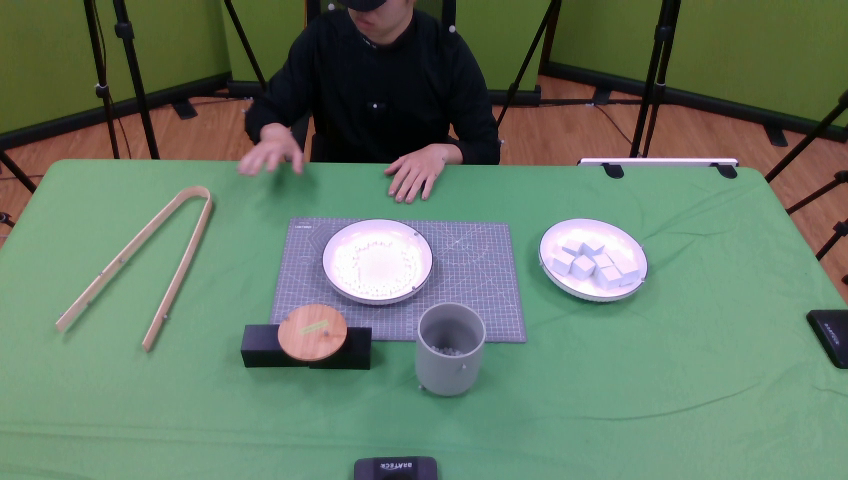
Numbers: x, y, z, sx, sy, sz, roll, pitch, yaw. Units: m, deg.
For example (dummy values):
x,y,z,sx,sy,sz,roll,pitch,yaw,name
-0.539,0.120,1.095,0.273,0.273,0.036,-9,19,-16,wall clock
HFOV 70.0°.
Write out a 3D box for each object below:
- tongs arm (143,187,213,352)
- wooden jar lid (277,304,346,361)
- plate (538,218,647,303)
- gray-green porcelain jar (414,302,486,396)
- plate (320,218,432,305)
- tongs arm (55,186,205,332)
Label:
x,y,z,sx,sy,sz,roll,pitch,yaw,name
-0.449,0.039,1.121,0.028,0.028,0.385,2,46,1,tongs arm
-0.179,0.150,0.972,0.108,0.021,0.107,2,45,-2,wooden jar lid
0.322,0.042,1.171,0.208,0.039,0.206,2,46,-2,plate
0.038,0.177,0.958,0.106,0.127,0.105,2,46,-2,gray-green porcelain jar
-0.089,0.044,1.134,0.209,0.038,0.208,3,46,-2,plate
-0.530,0.022,1.126,0.051,0.026,0.383,14,46,8,tongs arm
